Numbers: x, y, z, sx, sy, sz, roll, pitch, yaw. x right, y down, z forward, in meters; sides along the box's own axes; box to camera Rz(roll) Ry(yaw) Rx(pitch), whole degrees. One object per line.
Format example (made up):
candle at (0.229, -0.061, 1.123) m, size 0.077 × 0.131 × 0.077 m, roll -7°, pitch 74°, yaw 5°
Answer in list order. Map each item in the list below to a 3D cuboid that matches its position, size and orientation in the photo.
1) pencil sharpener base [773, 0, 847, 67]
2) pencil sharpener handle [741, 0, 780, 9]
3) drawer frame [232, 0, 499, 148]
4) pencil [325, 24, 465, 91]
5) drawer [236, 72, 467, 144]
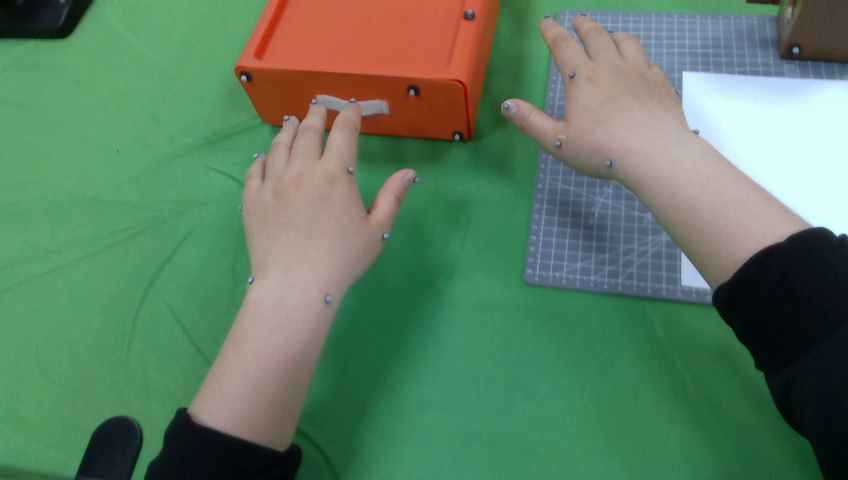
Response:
pencil sharpener base at (0.335, -0.200, 0.492) m, size 0.076 × 0.108 × 0.061 m, roll 7°, pitch 61°, yaw 14°
pencil sharpener handle at (0.285, -0.215, 0.494) m, size 0.030 × 0.068 × 0.036 m, roll 7°, pitch 70°, yaw 14°
drawer frame at (-0.041, -0.197, 0.564) m, size 0.201 × 0.083 × 0.212 m, roll 6°, pitch 60°, yaw 12°
pencil at (-0.035, -0.183, 0.590) m, size 0.192 × 0.012 × 0.012 m, roll 33°, pitch 69°, yaw 30°
drawer at (-0.041, -0.194, 0.565) m, size 0.194 × 0.074 × 0.210 m, roll 6°, pitch 59°, yaw 13°
